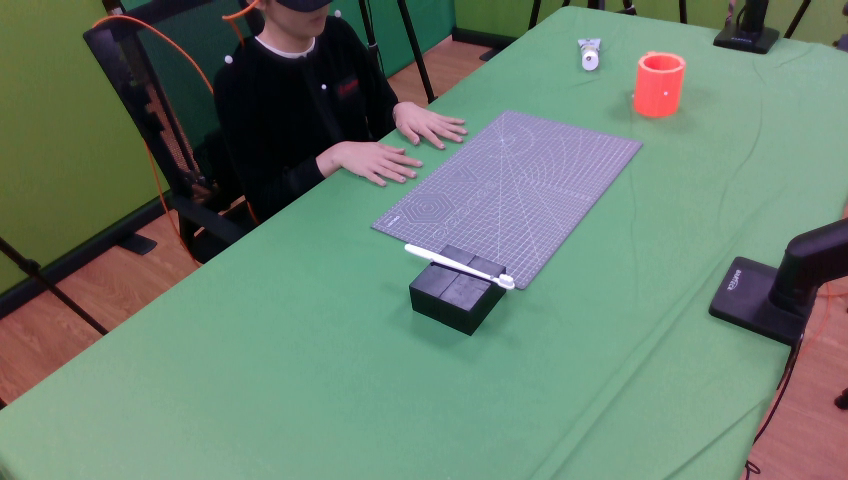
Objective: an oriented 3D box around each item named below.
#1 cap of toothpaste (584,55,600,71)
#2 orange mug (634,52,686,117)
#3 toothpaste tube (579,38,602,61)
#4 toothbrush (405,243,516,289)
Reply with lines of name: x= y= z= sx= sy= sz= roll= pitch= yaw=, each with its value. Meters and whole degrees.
cap of toothpaste: x=0.381 y=-0.403 z=1.372 sx=0.037 sy=0.037 sz=0.011 roll=1 pitch=38 yaw=10
orange mug: x=0.469 y=-0.321 z=1.219 sx=0.083 sy=0.101 sz=0.125 roll=-5 pitch=45 yaw=3
toothpaste tube: x=0.398 y=-0.449 z=1.433 sx=0.055 sy=0.034 sz=0.164 roll=6 pitch=38 yaw=8
toothbrush: x=0.048 y=0.034 z=0.859 sx=0.180 sy=0.017 sz=0.014 roll=19 pitch=51 yaw=28
